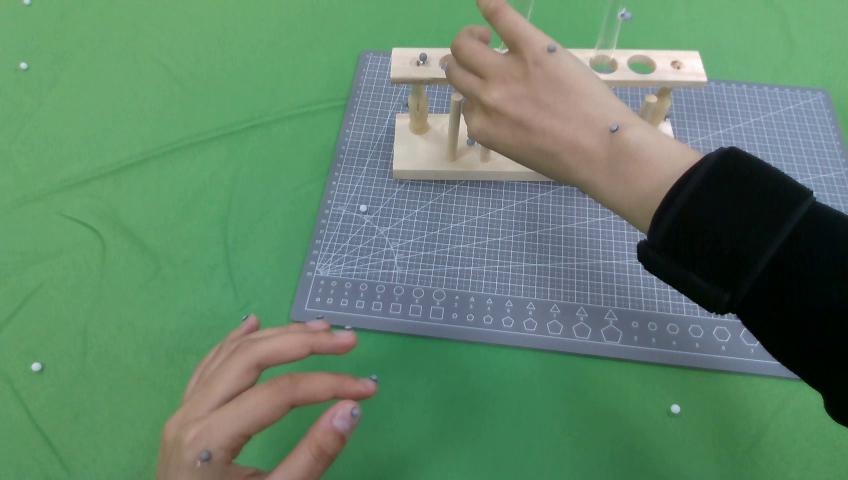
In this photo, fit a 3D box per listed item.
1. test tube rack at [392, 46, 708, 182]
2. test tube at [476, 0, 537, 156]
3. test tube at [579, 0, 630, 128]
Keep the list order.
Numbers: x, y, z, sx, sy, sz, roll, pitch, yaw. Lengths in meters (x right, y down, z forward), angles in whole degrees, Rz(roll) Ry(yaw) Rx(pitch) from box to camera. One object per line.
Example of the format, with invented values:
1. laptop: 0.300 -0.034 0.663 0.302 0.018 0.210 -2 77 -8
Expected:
1. test tube rack: 0.096 -0.102 0.497 0.242 0.086 0.066 1 58 0
2. test tube: 0.058 -0.117 0.444 0.017 0.151 0.017 3 56 -5
3. test tube: 0.140 -0.145 0.465 0.017 0.151 0.017 -1 53 1
